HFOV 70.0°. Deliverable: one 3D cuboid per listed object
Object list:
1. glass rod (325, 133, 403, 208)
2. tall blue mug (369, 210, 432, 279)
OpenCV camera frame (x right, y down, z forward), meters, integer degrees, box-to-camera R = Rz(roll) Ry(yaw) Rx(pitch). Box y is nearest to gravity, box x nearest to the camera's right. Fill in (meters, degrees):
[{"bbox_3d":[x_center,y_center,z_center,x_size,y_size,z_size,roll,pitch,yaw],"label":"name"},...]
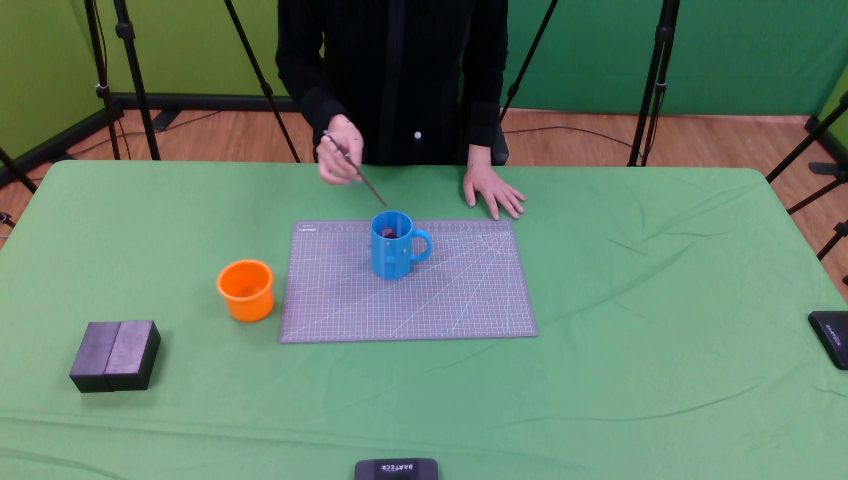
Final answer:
[{"bbox_3d":[-0.096,-0.112,1.009,0.008,0.201,0.008,-25,42,25],"label":"glass rod"},{"bbox_3d":[-0.048,0.005,1.125,0.107,0.108,0.077,-19,50,-21],"label":"tall blue mug"}]
